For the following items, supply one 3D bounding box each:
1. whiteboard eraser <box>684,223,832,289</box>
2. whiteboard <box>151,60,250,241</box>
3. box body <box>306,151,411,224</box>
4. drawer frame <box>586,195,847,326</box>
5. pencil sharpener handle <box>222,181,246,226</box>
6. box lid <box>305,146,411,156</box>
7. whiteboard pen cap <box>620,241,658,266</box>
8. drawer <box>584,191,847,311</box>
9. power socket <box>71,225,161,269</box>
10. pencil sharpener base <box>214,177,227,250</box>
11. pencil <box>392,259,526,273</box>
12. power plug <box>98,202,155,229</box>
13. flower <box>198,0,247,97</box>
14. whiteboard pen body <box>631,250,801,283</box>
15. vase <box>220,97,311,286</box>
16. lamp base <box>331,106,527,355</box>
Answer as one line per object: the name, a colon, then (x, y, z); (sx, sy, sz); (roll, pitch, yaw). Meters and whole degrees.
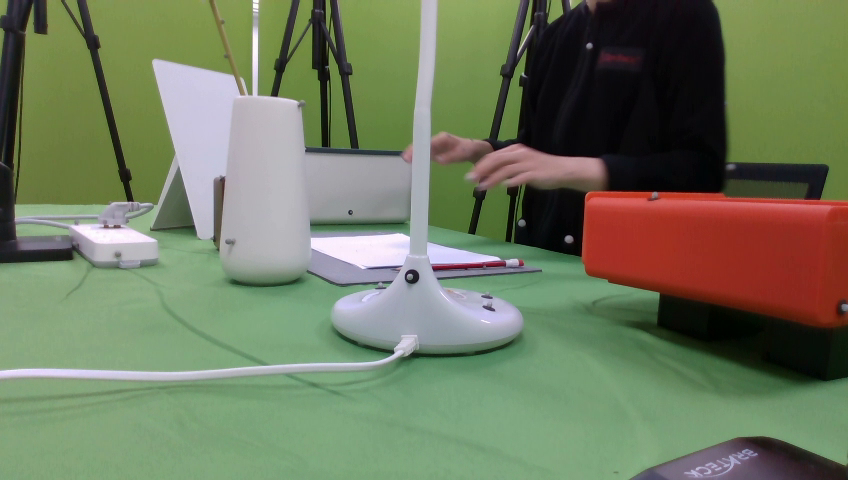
whiteboard eraser: (0.305, 0.013, 0.558); (0.056, 0.042, 0.112); (-9, 19, -31)
whiteboard: (-0.408, -0.139, 1.093); (0.143, 0.305, 0.218); (-15, 0, 26)
box body: (-0.230, -0.126, 1.371); (0.366, 0.160, 0.253); (-2, 8, -33)
drawer frame: (0.284, 0.004, 0.508); (0.203, 0.082, 0.212); (-1, 6, -28)
pencil sharpener handle: (-0.289, -0.055, 0.912); (0.036, 0.067, 0.030); (-3, 9, -29)
box lid: (-0.229, -0.200, 1.360); (0.373, 0.015, 0.262); (-3, 9, -33)
whiteboard pen cap: (0.199, 0.013, 0.557); (0.018, 0.018, 0.033); (-4, 18, -40)
drawer: (0.280, 0.000, 0.513); (0.195, 0.073, 0.211); (0, 8, -28)
power socket: (-0.408, 0.004, 0.793); (0.072, 0.032, 0.225); (-2, 8, -38)
pencil sharpener base: (-0.265, -0.036, 0.870); (0.061, 0.107, 0.076); (-2, 8, -29)
pencil: (0.049, 0.035, 0.782); (0.195, 0.012, 0.012); (-2, 9, -25)
power plug: (-0.416, -0.027, 0.848); (0.073, 0.052, 0.035); (0, 8, -28)
flower: (-0.187, -0.133, 0.648); (0.038, 0.362, 0.044); (-1, 22, 43)
whiteboard pen body: (0.240, 0.020, 0.512); (0.017, 0.017, 0.140); (-4, 8, -41)
vase: (-0.172, -0.052, 0.662); (0.098, 0.200, 0.098); (3, 8, 0)
lamp base: (0.006, -0.012, 0.478); (0.161, 0.180, 0.179); (2, 10, 2)
